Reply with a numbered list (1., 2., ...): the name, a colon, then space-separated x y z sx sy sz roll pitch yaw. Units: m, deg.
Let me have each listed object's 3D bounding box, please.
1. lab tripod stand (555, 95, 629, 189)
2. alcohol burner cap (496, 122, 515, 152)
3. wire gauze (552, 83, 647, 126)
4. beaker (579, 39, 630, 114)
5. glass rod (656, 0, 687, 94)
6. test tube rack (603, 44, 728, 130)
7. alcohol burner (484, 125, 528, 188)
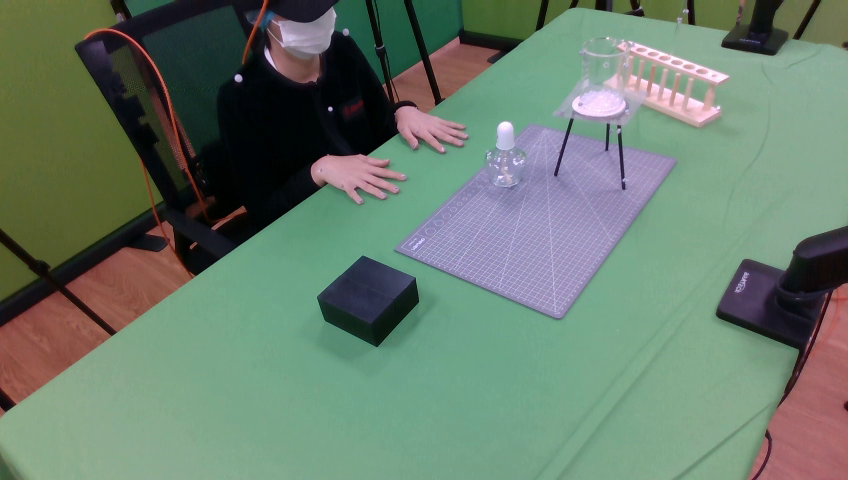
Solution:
1. lab tripod stand: 0.300 -0.174 1.045 0.148 0.132 0.147 -5 38 5
2. alcohol burner cap: 0.139 -0.179 1.037 0.034 0.048 0.033 -4 44 4
3. wire gauze: 0.293 -0.224 1.004 0.120 0.011 0.125 19 43 26
4. beaker: 0.289 -0.263 0.975 0.073 0.101 0.084 17 45 27
5. glass rod: 0.491 -0.381 1.199 0.008 0.200 0.008 1 41 0
6. test tube rack: 0.480 -0.316 1.227 0.067 0.085 0.240 -28 44 -22
7. alcohol burner: 0.144 -0.152 1.059 0.078 0.119 0.077 -3 41 3
